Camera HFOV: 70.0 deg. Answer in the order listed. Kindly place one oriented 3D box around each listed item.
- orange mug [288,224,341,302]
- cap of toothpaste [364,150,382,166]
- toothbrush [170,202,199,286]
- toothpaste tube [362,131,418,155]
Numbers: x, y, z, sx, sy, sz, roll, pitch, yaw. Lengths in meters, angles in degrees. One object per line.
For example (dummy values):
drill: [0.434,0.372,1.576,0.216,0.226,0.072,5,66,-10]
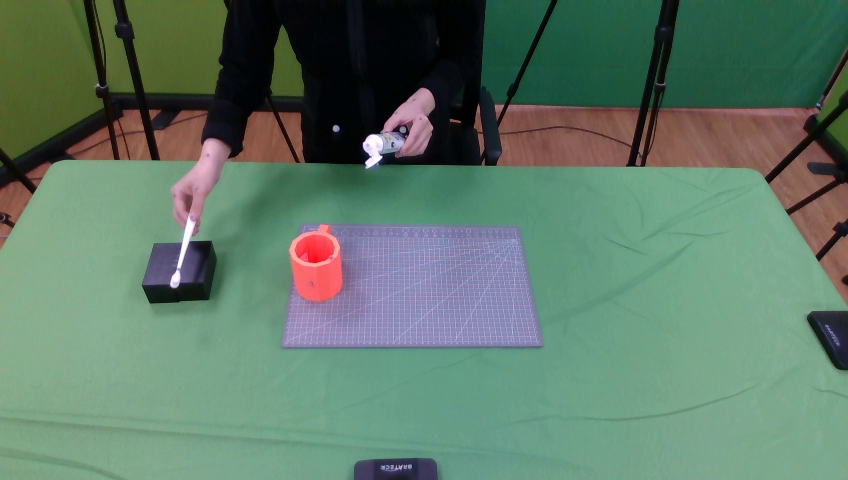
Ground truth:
orange mug: [-0.192,0.034,1.094,0.083,0.101,0.125,7,50,2]
cap of toothpaste: [-0.086,-0.136,1.007,0.037,0.011,0.037,-33,19,14]
toothbrush: [-0.408,0.001,1.037,0.014,0.017,0.180,13,48,-18]
toothpaste tube: [-0.062,-0.175,1.085,0.055,0.034,0.165,41,26,9]
